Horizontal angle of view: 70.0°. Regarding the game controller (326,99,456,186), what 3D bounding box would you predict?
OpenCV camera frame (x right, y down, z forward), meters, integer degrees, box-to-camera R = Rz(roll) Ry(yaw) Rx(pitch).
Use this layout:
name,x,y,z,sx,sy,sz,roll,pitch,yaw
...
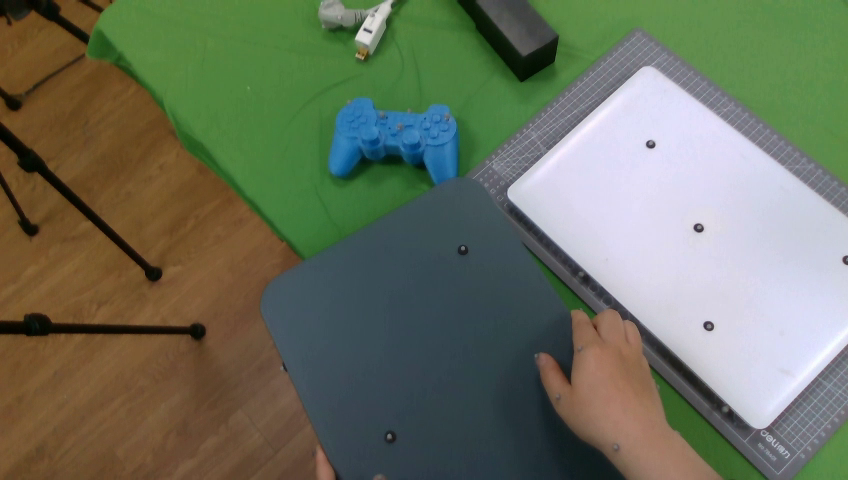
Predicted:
name,x,y,z,sx,sy,sz,roll,pitch,yaw
game controller,-0.037,-0.116,0.712,0.155,0.052,0.096,7,70,8

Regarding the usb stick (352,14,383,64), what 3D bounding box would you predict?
name,x,y,z,sx,sy,sz,roll,pitch,yaw
usb stick,-0.074,-0.254,0.770,0.021,0.027,0.059,25,83,5

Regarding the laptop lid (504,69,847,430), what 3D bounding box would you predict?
name,x,y,z,sx,sy,sz,roll,pitch,yaw
laptop lid,0.286,-0.009,0.645,0.241,0.013,0.354,-41,72,-6

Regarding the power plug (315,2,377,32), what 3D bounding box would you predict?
name,x,y,z,sx,sy,sz,roll,pitch,yaw
power plug,-0.105,-0.290,0.791,0.073,0.035,0.052,-9,39,-35

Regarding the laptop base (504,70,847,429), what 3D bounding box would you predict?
name,x,y,z,sx,sy,sz,roll,pitch,yaw
laptop base,0.289,-0.006,0.656,0.235,0.023,0.352,-43,73,-6

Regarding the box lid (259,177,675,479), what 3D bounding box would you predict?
name,x,y,z,sx,sy,sz,roll,pitch,yaw
box lid,0.022,0.131,0.565,0.263,0.015,0.368,-30,69,-4
